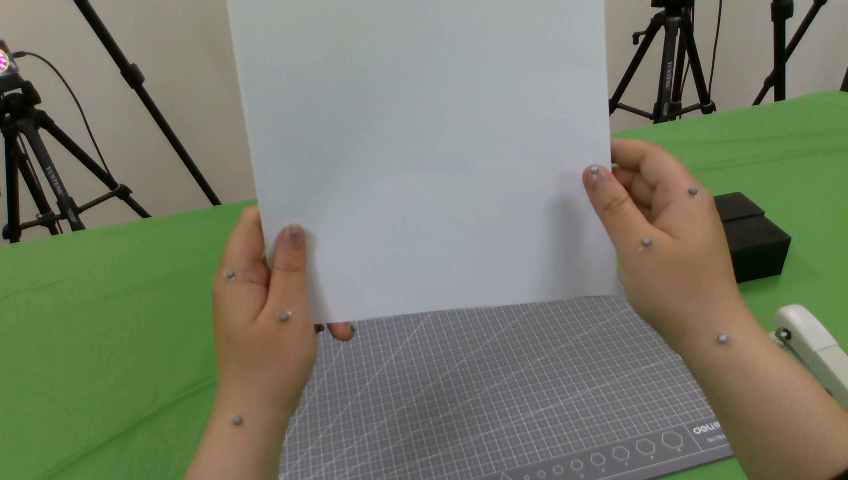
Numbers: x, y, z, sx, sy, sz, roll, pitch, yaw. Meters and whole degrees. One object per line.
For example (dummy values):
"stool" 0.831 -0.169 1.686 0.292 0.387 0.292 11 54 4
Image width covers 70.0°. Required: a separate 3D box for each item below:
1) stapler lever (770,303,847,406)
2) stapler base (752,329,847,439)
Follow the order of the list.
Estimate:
"stapler lever" 0.352 0.101 0.530 0.027 0.040 0.116 -15 36 -8
"stapler base" 0.354 0.120 0.545 0.041 0.024 0.129 -14 37 -8
